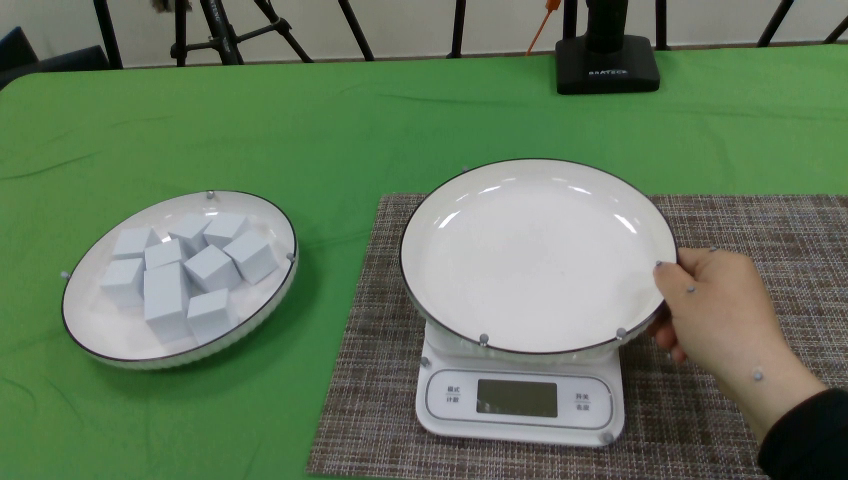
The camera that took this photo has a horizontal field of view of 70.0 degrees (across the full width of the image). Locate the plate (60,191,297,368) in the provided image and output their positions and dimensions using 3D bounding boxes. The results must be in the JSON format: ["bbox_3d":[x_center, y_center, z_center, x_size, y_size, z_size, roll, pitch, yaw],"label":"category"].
[{"bbox_3d":[-0.217,0.034,0.556,0.209,0.038,0.207,-4,44,4],"label":"plate"}]

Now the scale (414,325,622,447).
[{"bbox_3d":[0.076,0.063,0.485,0.148,0.032,0.199,1,46,10],"label":"scale"}]

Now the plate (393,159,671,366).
[{"bbox_3d":[0.081,0.015,0.474,0.207,0.039,0.205,-3,45,4],"label":"plate"}]
